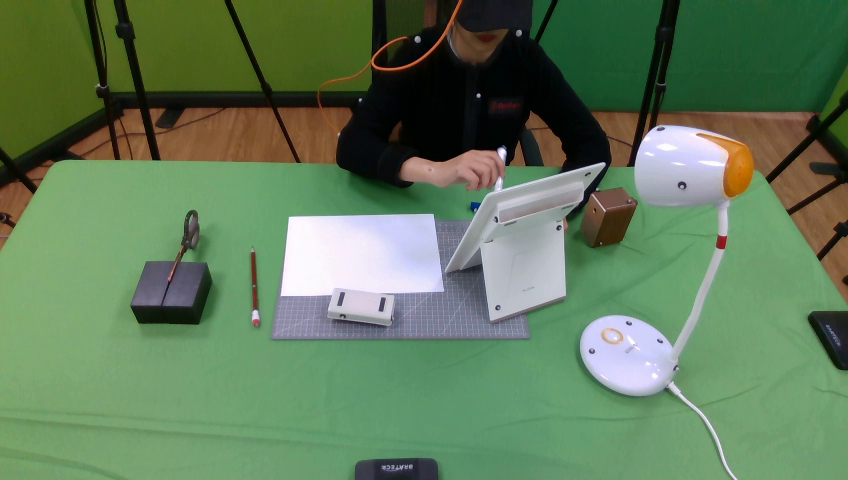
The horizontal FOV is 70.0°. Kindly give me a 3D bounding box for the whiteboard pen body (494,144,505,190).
[{"bbox_3d":[0.142,-0.125,1.148,0.017,0.017,0.140,6,59,2],"label":"whiteboard pen body"}]

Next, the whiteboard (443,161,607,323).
[{"bbox_3d":[0.185,0.025,1.029,0.217,0.306,0.143,-15,68,-18],"label":"whiteboard"}]

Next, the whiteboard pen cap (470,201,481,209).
[{"bbox_3d":[0.114,-0.073,1.279,0.033,0.018,0.018,5,46,6],"label":"whiteboard pen cap"}]

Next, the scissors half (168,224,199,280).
[{"bbox_3d":[-0.441,0.023,1.111,0.013,0.040,0.174,9,29,-8],"label":"scissors half"}]

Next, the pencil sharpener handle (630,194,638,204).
[{"bbox_3d":[0.417,-0.068,1.215,0.031,0.068,0.036,-11,60,-14],"label":"pencil sharpener handle"}]

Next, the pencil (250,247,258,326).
[{"bbox_3d":[-0.312,0.079,1.107,0.012,0.012,0.192,-7,46,-11],"label":"pencil"}]

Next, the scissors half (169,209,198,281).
[{"bbox_3d":[-0.438,0.007,1.099,0.013,0.040,0.174,4,48,-5],"label":"scissors half"}]

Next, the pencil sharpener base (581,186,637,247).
[{"bbox_3d":[0.369,-0.047,1.209,0.077,0.107,0.061,-11,47,-14],"label":"pencil sharpener base"}]

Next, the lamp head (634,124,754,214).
[{"bbox_3d":[0.351,-0.089,0.776,0.112,0.113,0.122,-30,30,-28],"label":"lamp head"}]

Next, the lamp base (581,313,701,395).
[{"bbox_3d":[0.361,0.144,0.973,0.178,0.181,0.160,34,53,23],"label":"lamp base"}]

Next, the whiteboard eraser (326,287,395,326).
[{"bbox_3d":[-0.110,0.118,1.057,0.113,0.042,0.055,7,46,2],"label":"whiteboard eraser"}]
